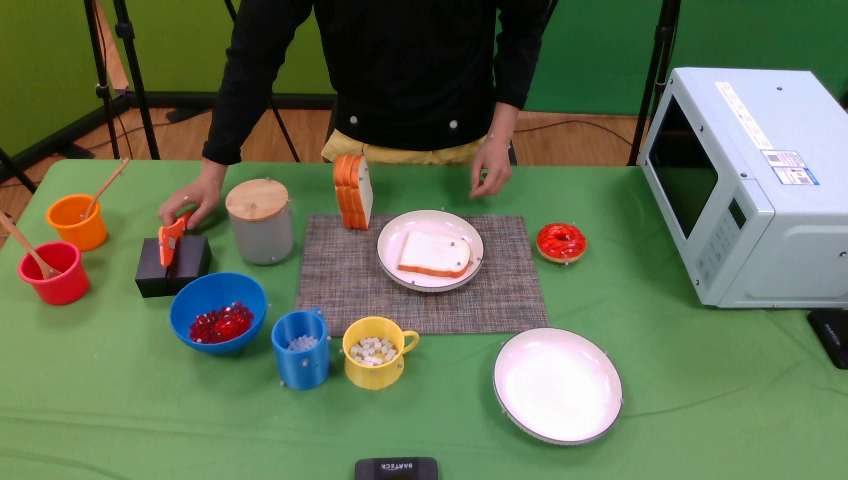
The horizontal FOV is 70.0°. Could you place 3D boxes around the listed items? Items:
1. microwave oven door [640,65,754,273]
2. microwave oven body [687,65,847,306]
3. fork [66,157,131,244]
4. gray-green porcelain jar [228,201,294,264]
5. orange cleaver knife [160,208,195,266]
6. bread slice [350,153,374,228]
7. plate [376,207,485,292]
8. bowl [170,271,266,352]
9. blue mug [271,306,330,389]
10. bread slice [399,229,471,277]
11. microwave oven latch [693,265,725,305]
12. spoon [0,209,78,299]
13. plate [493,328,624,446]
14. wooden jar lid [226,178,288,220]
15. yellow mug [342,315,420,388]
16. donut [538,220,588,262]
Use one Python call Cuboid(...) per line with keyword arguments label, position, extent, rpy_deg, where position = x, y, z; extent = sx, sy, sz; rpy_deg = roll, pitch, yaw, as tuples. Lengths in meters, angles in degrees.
Cuboid(label="microwave oven door", position=(0.523, -0.147, 1.193), extent=(0.039, 0.245, 0.353), rpy_deg=(0, 47, -3))
Cuboid(label="microwave oven body", position=(0.669, -0.111, 1.176), extent=(0.326, 0.261, 0.439), rpy_deg=(0, 46, -3))
Cuboid(label="fork", position=(-0.608, -0.074, 1.132), extent=(0.207, 0.019, 0.028), rpy_deg=(-52, 48, 10))
Cuboid(label="gray-green porcelain jar", position=(-0.299, -0.027, 1.126), extent=(0.106, 0.127, 0.105), rpy_deg=(2, 46, -2))
Cuboid(label="orange cleaver knife", position=(-0.456, -0.010, 1.129), extent=(0.012, 0.077, 0.210), rpy_deg=(-3, 17, -6))
Cuboid(label="bread slice", position=(-0.124, -0.104, 1.207), extent=(0.018, 0.135, 0.106), rpy_deg=(-1, 48, 7))
Cuboid(label="plate", position=(0.012, 0.021, 1.159), extent=(0.209, 0.038, 0.208), rpy_deg=(2, 47, -2))
Cuboid(label="bowl", position=(-0.333, 0.132, 1.006), extent=(0.151, 0.077, 0.150), rpy_deg=(2, 46, -2))
Cuboid(label="blue mug", position=(-0.188, 0.163, 0.969), extent=(0.082, 0.106, 0.116), rpy_deg=(15, 47, 10))
Cuboid(label="bread slice", position=(0.025, 0.024, 1.161), extent=(0.131, 0.019, 0.104), rpy_deg=(7, 47, 8))
Cuboid(label="microwave oven latch", position=(0.522, 0.081, 1.115), extent=(0.030, 0.029, 0.078), rpy_deg=(2, 46, -1))
Cuboid(label="spoon", position=(-0.668, 0.022, 1.040), extent=(0.041, 0.021, 0.194), rpy_deg=(-41, 105, -29))
Cuboid(label="plate", position=(0.213, 0.236, 0.974), extent=(0.208, 0.039, 0.206), rpy_deg=(2, 46, -2))
Cuboid(label="wooden jar lid", position=(-0.296, -0.070, 1.081), extent=(0.108, 0.021, 0.107), rpy_deg=(1, 45, -1))
Cuboid(label="yellow mug", position=(-0.068, 0.177, 0.990), extent=(0.131, 0.064, 0.099), rpy_deg=(-15, 50, -19))
Cuboid(label="donut", position=(0.273, 0.000, 1.198), extent=(0.099, 0.048, 0.098), rpy_deg=(0, 47, 0))
